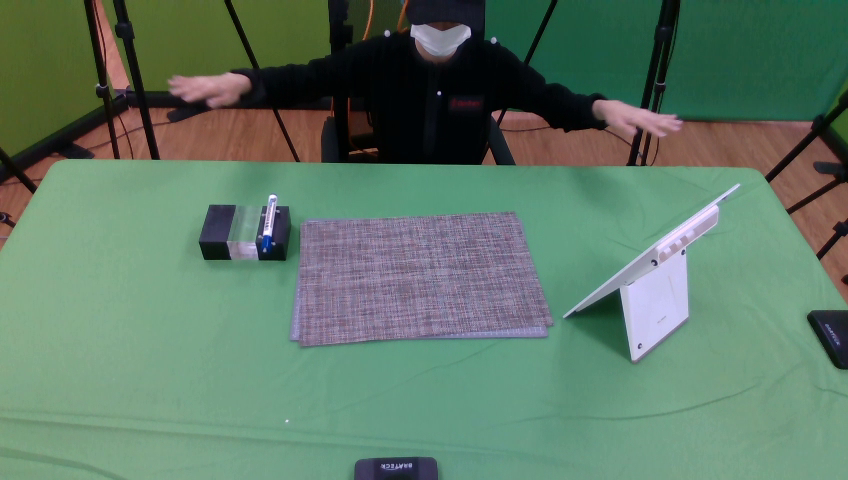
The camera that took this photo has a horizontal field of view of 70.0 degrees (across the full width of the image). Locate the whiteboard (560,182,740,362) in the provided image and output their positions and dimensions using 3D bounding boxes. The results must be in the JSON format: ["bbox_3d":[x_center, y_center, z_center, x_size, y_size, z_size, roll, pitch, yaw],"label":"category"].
[{"bbox_3d":[0.406,0.075,1.001,0.217,0.306,0.143,-28,73,-28],"label":"whiteboard"}]

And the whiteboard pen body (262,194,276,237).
[{"bbox_3d":[-0.294,-0.038,1.145,0.017,0.017,0.140,-1,46,-5],"label":"whiteboard pen body"}]

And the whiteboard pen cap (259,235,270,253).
[{"bbox_3d":[-0.289,0.005,1.103,0.018,0.018,0.033,0,48,-5],"label":"whiteboard pen cap"}]
